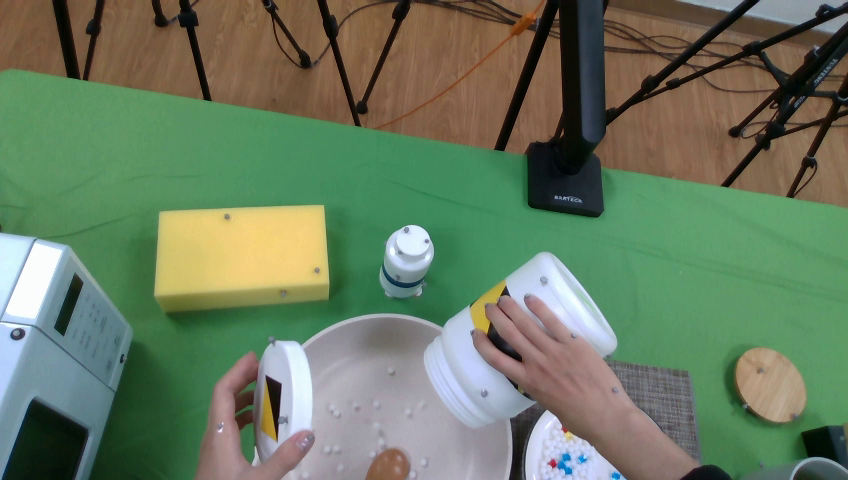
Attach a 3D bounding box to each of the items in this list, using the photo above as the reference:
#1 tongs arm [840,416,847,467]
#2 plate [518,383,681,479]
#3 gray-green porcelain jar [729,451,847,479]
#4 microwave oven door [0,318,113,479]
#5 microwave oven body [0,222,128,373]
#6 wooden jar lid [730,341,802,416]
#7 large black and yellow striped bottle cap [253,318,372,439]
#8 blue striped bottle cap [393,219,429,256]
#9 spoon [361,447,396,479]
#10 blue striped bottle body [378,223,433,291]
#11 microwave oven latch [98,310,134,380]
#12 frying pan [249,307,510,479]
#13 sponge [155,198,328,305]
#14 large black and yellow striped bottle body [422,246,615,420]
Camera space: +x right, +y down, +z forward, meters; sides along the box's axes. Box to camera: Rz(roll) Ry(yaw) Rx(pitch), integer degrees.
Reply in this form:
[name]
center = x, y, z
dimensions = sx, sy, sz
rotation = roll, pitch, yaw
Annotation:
[tongs arm]
center = 0.569, 0.414, 0.741
dimensions = 0.051, 0.026, 0.382
rotation = 4, 74, -11
[plate]
center = 0.216, 0.286, 0.760
dimensions = 0.209, 0.038, 0.207
rotation = 4, 64, -8
[gray-green porcelain jar]
center = 0.448, 0.321, 0.744
dimensions = 0.106, 0.127, 0.105
rotation = 4, 63, -9
[microwave oven door]
center = -0.371, 0.269, 0.519
dimensions = 0.039, 0.245, 0.353
rotation = 9, 63, -7
[microwave oven body]
center = -0.510, 0.212, 0.526
dimensions = 0.327, 0.261, 0.438
rotation = 9, 64, -7
[wooden jar lid]
center = 0.488, 0.199, 0.871
dimensions = 0.108, 0.021, 0.107
rotation = 4, 65, -9
[large black and yellow striped bottle cap]
center = -0.097, 0.122, 0.541
dimensions = 0.116, 0.019, 0.114
rotation = 34, 30, -23
[blue striped bottle cap]
center = -0.016, -0.004, 0.753
dimensions = 0.045, 0.021, 0.044
rotation = 4, 60, -7
[spoon]
center = -0.086, 0.292, 0.670
dimensions = 0.041, 0.021, 0.194
rotation = 56, 37, 6
[blue striped bottle body]
center = -0.025, 0.019, 0.799
dimensions = 0.063, 0.121, 0.062
rotation = 4, 64, -9
[microwave oven latch]
center = -0.364, 0.121, 0.708
dimensions = 0.030, 0.029, 0.078
rotation = 9, 64, -7
[frying pan]
center = -0.013, 0.309, 0.667
dimensions = 0.307, 0.103, 0.483
rotation = -13, 60, -16
[sponge]
center = -0.234, 0.014, 0.794
dimensions = 0.207, 0.061, 0.117
rotation = -4, 65, -14
[large black and yellow striped bottle body]
center = 0.101, 0.108, 0.677
dimensions = 0.184, 0.131, 0.130
rotation = -38, 72, 14
